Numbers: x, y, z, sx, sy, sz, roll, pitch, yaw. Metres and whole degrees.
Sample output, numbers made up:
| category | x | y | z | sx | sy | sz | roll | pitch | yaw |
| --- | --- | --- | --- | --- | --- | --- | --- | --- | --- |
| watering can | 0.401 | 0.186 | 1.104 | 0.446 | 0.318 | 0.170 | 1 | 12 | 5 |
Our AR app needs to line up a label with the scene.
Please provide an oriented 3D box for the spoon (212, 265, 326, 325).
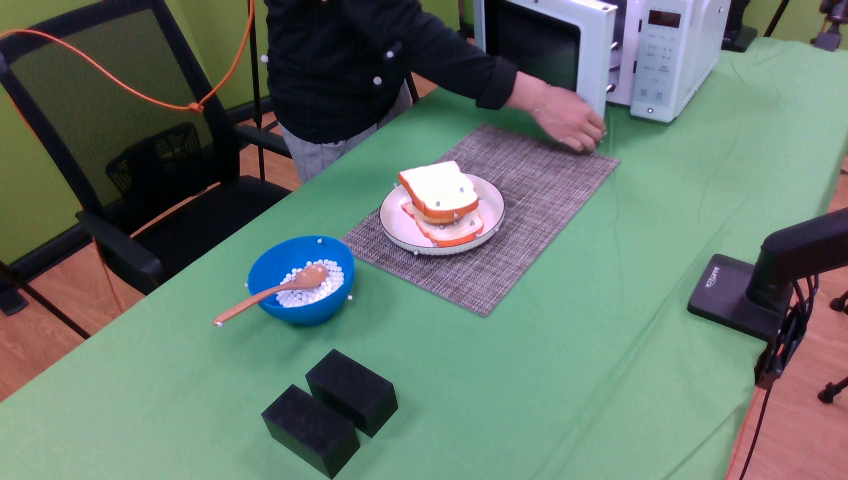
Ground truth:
| category | x | y | z | sx | sy | sz | roll | pitch | yaw |
| --- | --- | --- | --- | --- | --- | --- | --- | --- | --- |
| spoon | -0.207 | 0.072 | 0.822 | 0.041 | 0.021 | 0.195 | 27 | 29 | 27 |

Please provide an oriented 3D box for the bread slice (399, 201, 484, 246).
| category | x | y | z | sx | sy | sz | roll | pitch | yaw |
| --- | --- | --- | --- | --- | --- | --- | --- | --- | --- |
| bread slice | 0.036 | -0.038 | 0.990 | 0.107 | 0.018 | 0.133 | -23 | 43 | -18 |

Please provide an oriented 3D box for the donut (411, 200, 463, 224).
| category | x | y | z | sx | sy | sz | roll | pitch | yaw |
| --- | --- | --- | --- | --- | --- | --- | --- | --- | --- |
| donut | 0.028 | -0.063 | 0.978 | 0.099 | 0.048 | 0.098 | -4 | 38 | 4 |

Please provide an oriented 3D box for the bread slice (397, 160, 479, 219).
| category | x | y | z | sx | sy | sz | roll | pitch | yaw |
| --- | --- | --- | --- | --- | --- | --- | --- | --- | --- |
| bread slice | 0.028 | -0.081 | 0.952 | 0.105 | 0.019 | 0.130 | -14 | 43 | -18 |

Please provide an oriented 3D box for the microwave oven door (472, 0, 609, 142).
| category | x | y | z | sx | sy | sz | roll | pitch | yaw |
| --- | --- | --- | --- | --- | --- | --- | --- | --- | --- |
| microwave oven door | 0.213 | -0.365 | 1.170 | 0.039 | 0.245 | 0.352 | -28 | 44 | -22 |

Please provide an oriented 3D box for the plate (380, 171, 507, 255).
| category | x | y | z | sx | sy | sz | roll | pitch | yaw |
| --- | --- | --- | --- | --- | --- | --- | --- | --- | --- |
| plate | 0.033 | -0.042 | 0.995 | 0.207 | 0.039 | 0.206 | -4 | 40 | 4 |

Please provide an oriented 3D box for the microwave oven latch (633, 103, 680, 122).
| category | x | y | z | sx | sy | sz | roll | pitch | yaw |
| --- | --- | --- | --- | --- | --- | --- | --- | --- | --- |
| microwave oven latch | 0.443 | -0.249 | 1.158 | 0.078 | 0.029 | 0.030 | 21 | 49 | 30 |

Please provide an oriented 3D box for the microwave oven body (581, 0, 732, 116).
| category | x | y | z | sx | sy | sz | roll | pitch | yaw |
| --- | --- | --- | --- | --- | --- | --- | --- | --- | --- |
| microwave oven body | 0.377 | -0.463 | 1.267 | 0.438 | 0.261 | 0.327 | 21 | 49 | 30 |

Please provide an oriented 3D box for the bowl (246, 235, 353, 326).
| category | x | y | z | sx | sy | sz | roll | pitch | yaw |
| --- | --- | --- | --- | --- | --- | --- | --- | --- | --- |
| bowl | -0.170 | 0.070 | 0.868 | 0.151 | 0.077 | 0.150 | -4 | 41 | 4 |
